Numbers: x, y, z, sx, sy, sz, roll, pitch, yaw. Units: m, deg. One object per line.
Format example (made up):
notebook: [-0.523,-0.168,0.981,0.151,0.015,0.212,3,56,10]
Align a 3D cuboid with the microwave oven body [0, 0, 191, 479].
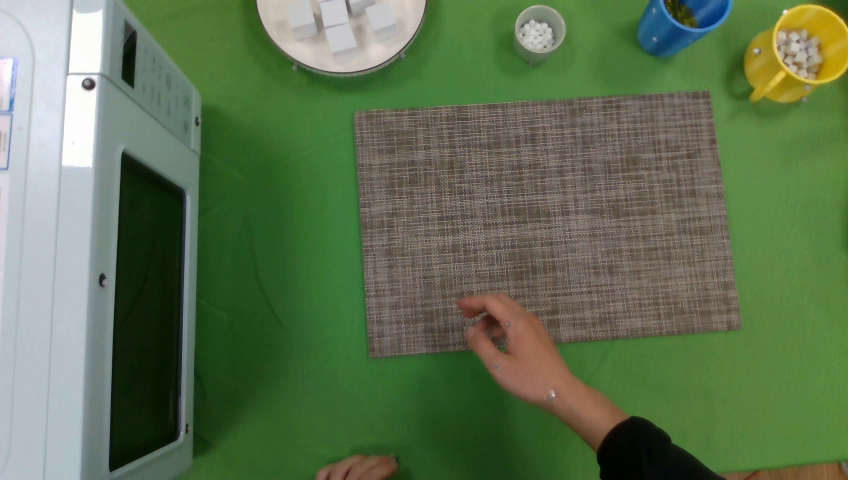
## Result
microwave oven body: [-0.421,0.019,0.583,0.326,0.260,0.440,-1,84,-3]

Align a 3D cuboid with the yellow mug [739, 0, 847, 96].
yellow mug: [0.444,-0.226,0.745,0.100,0.064,0.131,44,85,3]

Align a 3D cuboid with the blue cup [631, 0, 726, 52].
blue cup: [0.297,-0.275,0.728,0.093,0.100,0.092,0,85,-2]

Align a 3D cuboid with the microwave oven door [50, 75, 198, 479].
microwave oven door: [-0.274,0.058,0.578,0.039,0.244,0.354,-2,83,-2]

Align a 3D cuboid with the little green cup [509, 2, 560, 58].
little green cup: [0.135,-0.258,0.752,0.061,0.039,0.061,0,82,-2]

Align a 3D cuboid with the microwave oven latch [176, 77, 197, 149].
microwave oven latch: [-0.281,-0.147,0.704,0.030,0.029,0.079,1,84,-2]

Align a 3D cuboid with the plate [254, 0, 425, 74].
plate: [-0.102,-0.301,0.748,0.208,0.039,0.207,0,83,-2]
